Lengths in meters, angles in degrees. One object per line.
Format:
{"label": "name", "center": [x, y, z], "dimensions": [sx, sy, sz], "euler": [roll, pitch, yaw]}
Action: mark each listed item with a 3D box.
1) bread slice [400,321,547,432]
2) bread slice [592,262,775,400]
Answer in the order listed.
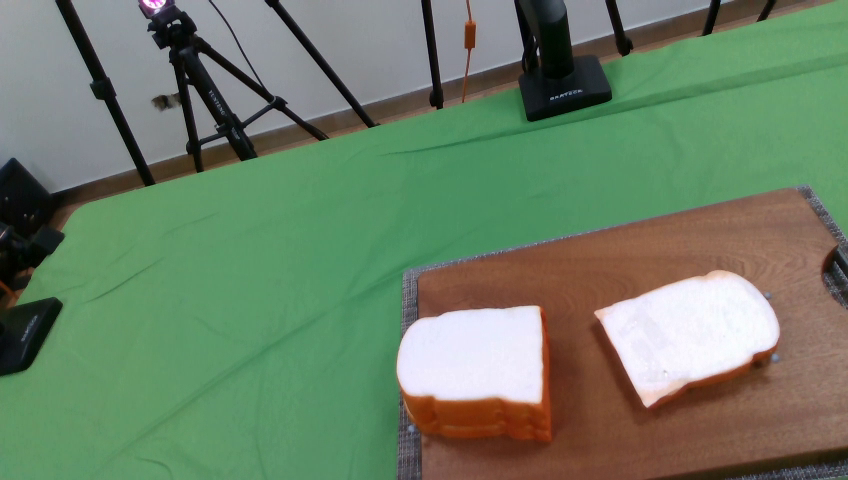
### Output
{"label": "bread slice", "center": [0.045, 0.119, 0.547], "dimensions": [0.134, 0.018, 0.106], "euler": [-3, 44, 16]}
{"label": "bread slice", "center": [0.224, 0.072, 0.517], "dimensions": [0.131, 0.019, 0.103], "euler": [-23, 40, 8]}
